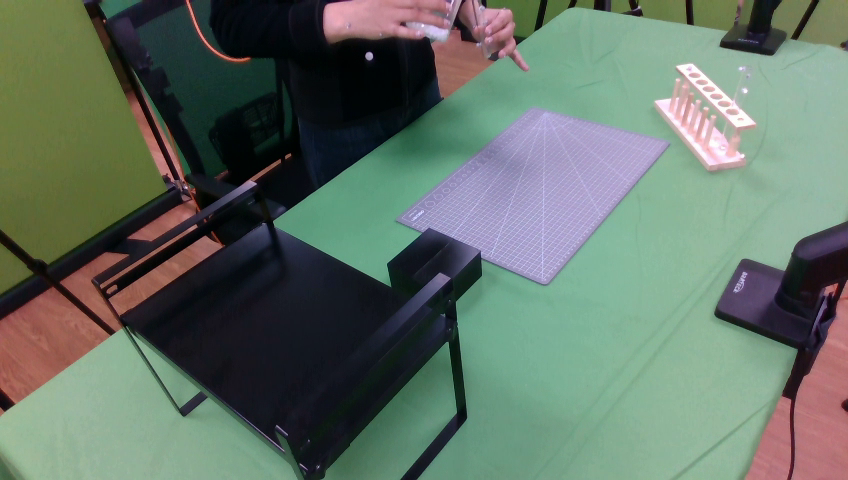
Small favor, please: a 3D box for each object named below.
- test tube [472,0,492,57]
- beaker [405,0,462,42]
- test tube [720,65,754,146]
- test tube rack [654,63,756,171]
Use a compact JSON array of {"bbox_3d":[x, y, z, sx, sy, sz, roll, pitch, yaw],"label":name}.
[{"bbox_3d":[0.096,-0.369,1.019,0.017,0.151,0.017,-8,56,12],"label":"test tube"},{"bbox_3d":[0.020,-0.356,0.906,0.073,0.100,0.084,27,17,16],"label":"beaker"},{"bbox_3d":[0.533,-0.226,1.032,0.017,0.151,0.017,-2,40,2],"label":"test tube"},{"bbox_3d":[0.510,-0.233,1.120,0.067,0.085,0.241,-8,41,-1],"label":"test tube rack"}]
